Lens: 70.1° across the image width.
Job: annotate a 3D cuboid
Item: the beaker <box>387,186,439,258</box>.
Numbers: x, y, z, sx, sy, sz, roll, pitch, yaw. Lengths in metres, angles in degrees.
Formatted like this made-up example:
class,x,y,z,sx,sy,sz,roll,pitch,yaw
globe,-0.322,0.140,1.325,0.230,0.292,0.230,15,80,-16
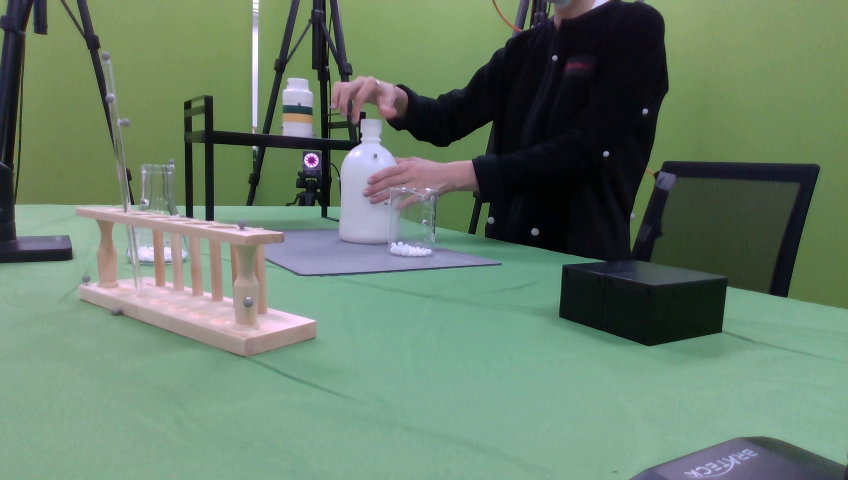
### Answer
class,x,y,z,sx,sy,sz,roll,pitch,yaw
beaker,-0.015,-0.027,0.885,0.074,0.100,0.083,-1,8,-20

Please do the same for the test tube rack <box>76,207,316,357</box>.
class,x,y,z,sx,sy,sz,roll,pitch,yaw
test tube rack,-0.196,0.023,0.500,0.241,0.085,0.067,8,9,36

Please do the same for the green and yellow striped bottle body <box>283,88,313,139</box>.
class,x,y,z,sx,sy,sz,roll,pitch,yaw
green and yellow striped bottle body,-0.266,-0.275,1.275,0.063,0.119,0.063,3,7,0

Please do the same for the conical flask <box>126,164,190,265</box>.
class,x,y,z,sx,sy,sz,roll,pitch,yaw
conical flask,-0.332,-0.033,0.756,0.075,0.122,0.075,2,7,0

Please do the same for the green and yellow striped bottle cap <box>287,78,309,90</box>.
class,x,y,z,sx,sy,sz,roll,pitch,yaw
green and yellow striped bottle cap,-0.265,-0.326,1.268,0.045,0.020,0.045,4,6,0

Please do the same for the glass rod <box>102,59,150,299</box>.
class,x,y,z,sx,sy,sz,roll,pitch,yaw
glass rod,-0.243,-0.045,0.496,0.008,0.199,0.008,-4,13,1

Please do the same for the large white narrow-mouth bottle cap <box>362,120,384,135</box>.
class,x,y,z,sx,sy,sz,roll,pitch,yaw
large white narrow-mouth bottle cap,-0.084,-0.186,0.998,0.038,0.024,0.037,4,9,0

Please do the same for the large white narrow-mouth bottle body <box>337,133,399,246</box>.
class,x,y,z,sx,sy,sz,roll,pitch,yaw
large white narrow-mouth bottle body,-0.092,-0.092,1.014,0.102,0.194,0.101,4,9,0
